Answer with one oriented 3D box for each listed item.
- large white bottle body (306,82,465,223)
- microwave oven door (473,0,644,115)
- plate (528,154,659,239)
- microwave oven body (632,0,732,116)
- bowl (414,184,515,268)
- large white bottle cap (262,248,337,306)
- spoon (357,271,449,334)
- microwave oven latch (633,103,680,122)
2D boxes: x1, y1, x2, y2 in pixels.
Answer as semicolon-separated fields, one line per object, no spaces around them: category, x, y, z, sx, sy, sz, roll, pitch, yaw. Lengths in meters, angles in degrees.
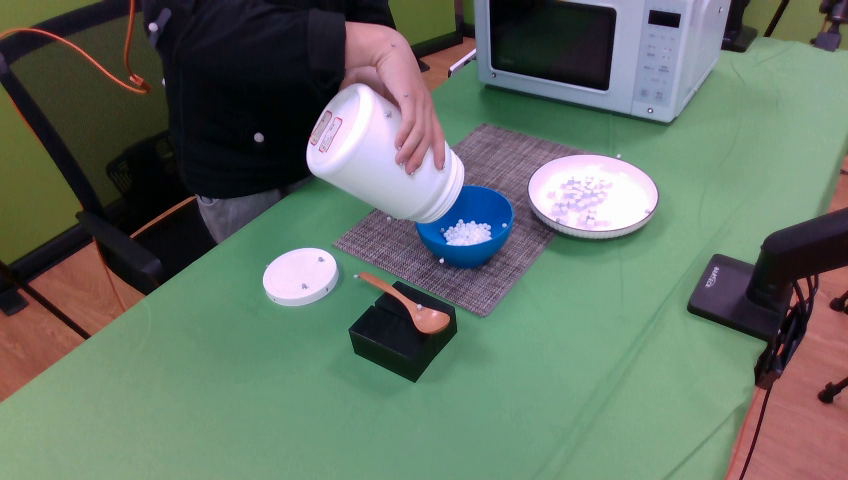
large white bottle body;-0.047;-0.107;0.804;0.130;0.186;0.130;-31;45;37
microwave oven door;0.257;-0.396;1.199;0.353;0.245;0.039;21;48;29
plate;0.274;-0.069;0.993;0.209;0.038;0.208;-2;43;2
microwave oven body;0.377;-0.463;1.267;0.438;0.261;0.327;21;49;30
bowl;0.063;-0.011;0.922;0.151;0.077;0.150;-4;40;4
large white bottle cap;-0.193;0.056;0.934;0.115;0.018;0.114;-5;41;4
spoon;-0.034;0.078;0.812;0.042;0.022;0.192;-34;42;-24
microwave oven latch;0.443;-0.249;1.157;0.078;0.029;0.030;21;49;30
